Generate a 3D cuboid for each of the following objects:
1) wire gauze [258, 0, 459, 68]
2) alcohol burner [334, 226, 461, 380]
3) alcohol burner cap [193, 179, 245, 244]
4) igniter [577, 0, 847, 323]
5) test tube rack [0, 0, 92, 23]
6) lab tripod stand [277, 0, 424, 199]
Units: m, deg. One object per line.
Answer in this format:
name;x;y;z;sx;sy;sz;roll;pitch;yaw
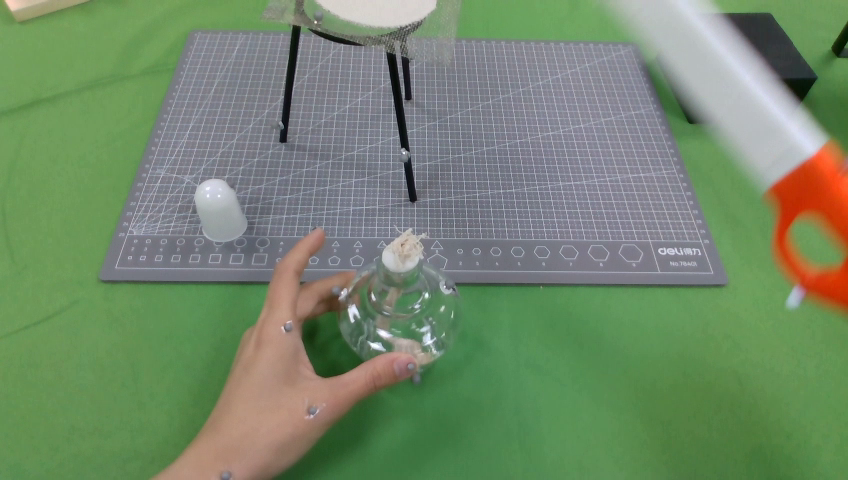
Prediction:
wire gauze;-0.035;-0.168;0.413;0.125;0.011;0.120;11;52;3
alcohol burner;-0.016;0.034;0.361;0.078;0.120;0.077;1;52;-1
alcohol burner cap;-0.150;-0.023;0.438;0.034;0.048;0.033;3;52;-3
igniter;0.168;-0.018;0.274;0.025;0.057;0.275;-25;74;-44
test tube rack;-0.326;-0.316;0.627;0.242;0.086;0.066;-30;61;-24
lab tripod stand;-0.044;-0.121;0.462;0.148;0.132;0.147;3;52;-4
